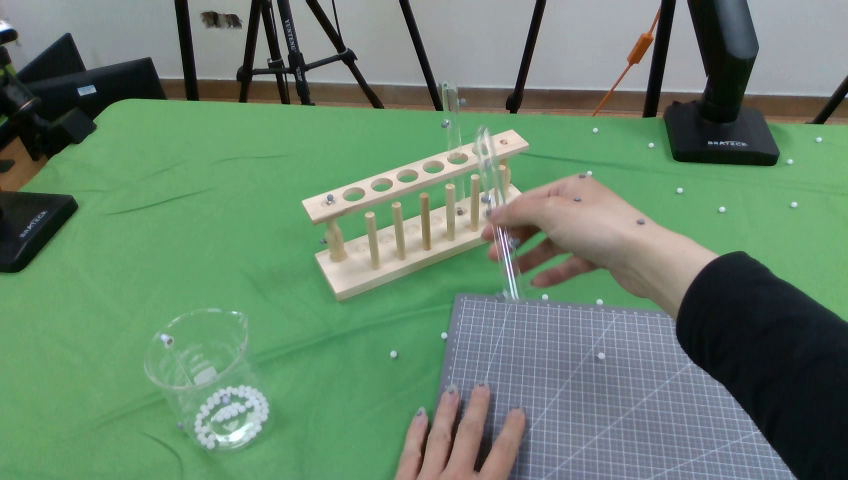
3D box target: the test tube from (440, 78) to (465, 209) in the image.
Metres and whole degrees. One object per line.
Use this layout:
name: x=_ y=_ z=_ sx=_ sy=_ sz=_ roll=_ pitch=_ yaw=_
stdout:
test tube: x=0.030 y=-0.094 z=0.622 sx=0.017 sy=0.151 sz=0.017 roll=-4 pitch=40 yaw=4

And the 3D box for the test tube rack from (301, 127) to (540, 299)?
test tube rack: x=0.004 y=-0.032 z=0.630 sx=0.243 sy=0.086 sz=0.066 roll=-21 pitch=46 yaw=-17

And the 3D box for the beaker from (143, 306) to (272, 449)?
beaker: x=-0.163 y=0.111 z=0.481 sx=0.073 sy=0.101 sz=0.084 roll=25 pitch=50 yaw=27

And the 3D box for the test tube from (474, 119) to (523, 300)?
test tube: x=0.058 y=-0.026 z=0.478 sx=0.017 sy=0.017 sz=0.149 roll=-8 pitch=78 yaw=-3
